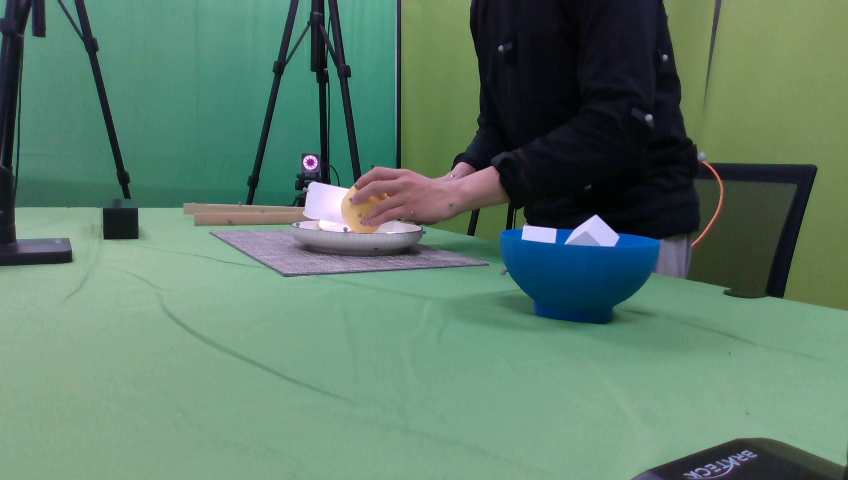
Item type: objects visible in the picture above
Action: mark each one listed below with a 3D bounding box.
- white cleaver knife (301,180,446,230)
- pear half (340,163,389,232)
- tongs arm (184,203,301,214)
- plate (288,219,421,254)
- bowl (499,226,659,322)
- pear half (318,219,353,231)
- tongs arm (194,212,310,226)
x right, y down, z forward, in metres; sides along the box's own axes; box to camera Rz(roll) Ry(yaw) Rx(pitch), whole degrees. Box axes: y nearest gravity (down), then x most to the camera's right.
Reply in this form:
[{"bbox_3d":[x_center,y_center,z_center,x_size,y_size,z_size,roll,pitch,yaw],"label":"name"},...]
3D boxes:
[{"bbox_3d":[-0.076,-0.051,1.001,0.288,0.066,0.021,5,-3,-39],"label":"white cleaver knife"},{"bbox_3d":[-0.083,-0.062,0.924,0.077,0.110,0.055,-18,40,-42],"label":"pear half"},{"bbox_3d":[-0.337,-0.065,1.376,0.387,0.026,0.050,0,9,-25],"label":"tongs arm"},{"bbox_3d":[-0.109,-0.007,0.956,0.208,0.039,0.207,2,7,0],"label":"plate"},{"bbox_3d":[0.145,0.032,0.585,0.151,0.077,0.151,2,7,0],"label":"bowl"},{"bbox_3d":[-0.142,-0.022,1.012,0.071,0.031,0.087,-5,26,-22],"label":"pear half"},{"bbox_3d":[-0.298,-0.049,1.307,0.390,0.028,0.028,-3,8,-37],"label":"tongs arm"}]
